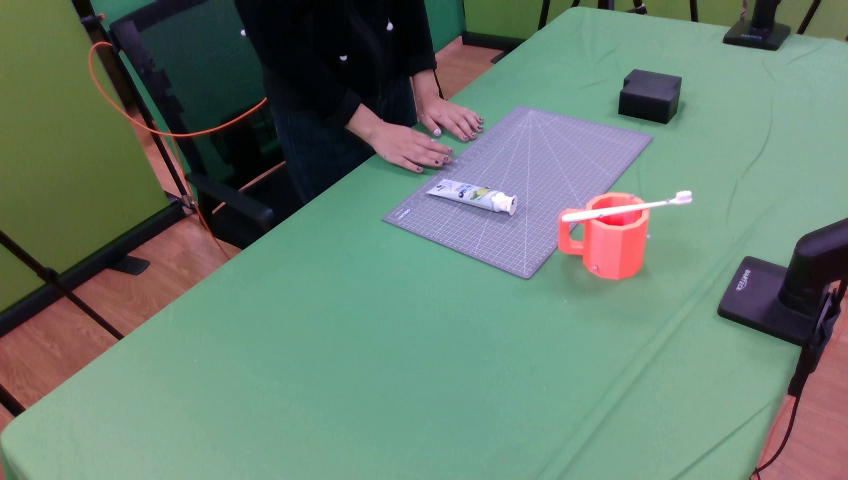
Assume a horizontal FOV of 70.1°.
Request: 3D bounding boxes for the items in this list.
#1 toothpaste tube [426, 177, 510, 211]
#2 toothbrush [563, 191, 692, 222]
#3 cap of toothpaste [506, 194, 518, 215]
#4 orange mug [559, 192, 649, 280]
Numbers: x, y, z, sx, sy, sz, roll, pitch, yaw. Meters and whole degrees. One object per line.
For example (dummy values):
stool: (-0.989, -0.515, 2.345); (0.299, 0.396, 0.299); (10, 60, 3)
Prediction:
toothpaste tube: (0.083, -0.082, 1.054); (0.164, 0.034, 0.055); (18, 40, 34)
toothbrush: (0.284, -0.045, 0.842); (0.182, 0.017, 0.014); (-9, 43, 0)
cap of toothpaste: (0.146, -0.060, 1.008); (0.011, 0.037, 0.037); (14, 46, 22)
orange mug: (0.261, -0.008, 0.884); (0.126, 0.101, 0.083); (9, 43, 14)
